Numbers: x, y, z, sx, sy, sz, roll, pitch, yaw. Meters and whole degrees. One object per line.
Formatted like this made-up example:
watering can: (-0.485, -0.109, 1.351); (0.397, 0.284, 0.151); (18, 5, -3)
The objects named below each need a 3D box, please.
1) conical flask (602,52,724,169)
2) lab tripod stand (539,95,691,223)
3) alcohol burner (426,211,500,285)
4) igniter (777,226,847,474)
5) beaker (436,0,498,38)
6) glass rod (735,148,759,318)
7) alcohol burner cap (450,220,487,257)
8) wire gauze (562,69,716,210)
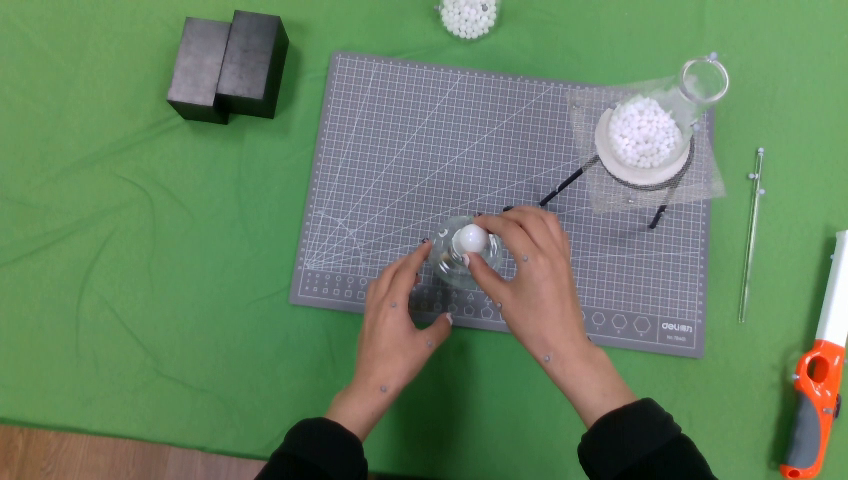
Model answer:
conical flask: (0.200, -0.109, 0.500); (0.075, 0.122, 0.075); (0, 81, -1)
lab tripod stand: (0.199, -0.078, 0.622); (0.148, 0.132, 0.148); (0, 81, 0)
alcohol burner: (0.041, 0.005, 0.612); (0.078, 0.119, 0.077); (0, 80, -2)
igniter: (0.426, 0.116, 0.647); (0.057, 0.025, 0.275); (22, 79, -8)
beaker: (0.051, -0.282, 0.677); (0.084, 0.100, 0.073); (-33, 81, -8)
glass rod: (0.362, -0.010, 0.679); (0.008, 0.008, 0.199); (12, 79, 1)
alcohol burner cap: (0.043, -0.004, 0.562); (0.034, 0.048, 0.034); (1, 82, -5)
wire gauze: (0.199, -0.092, 0.557); (0.125, 0.011, 0.121); (-8, 82, -5)
